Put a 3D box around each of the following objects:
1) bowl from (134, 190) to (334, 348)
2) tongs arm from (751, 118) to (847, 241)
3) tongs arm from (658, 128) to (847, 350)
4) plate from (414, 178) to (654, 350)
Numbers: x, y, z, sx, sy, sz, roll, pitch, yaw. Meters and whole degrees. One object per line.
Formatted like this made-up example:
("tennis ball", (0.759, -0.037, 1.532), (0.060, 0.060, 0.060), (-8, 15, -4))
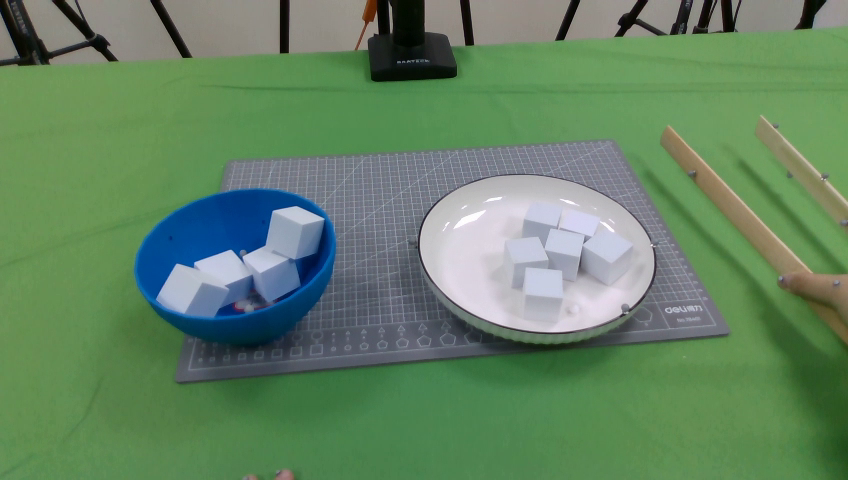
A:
("bowl", (-0.144, 0.035, 0.493), (0.151, 0.077, 0.150), (0, 42, 0))
("tongs arm", (0.378, 0.006, 0.541), (0.051, 0.027, 0.380), (-5, 44, -8))
("tongs arm", (0.316, 0.014, 0.532), (0.028, 0.028, 0.383), (-8, 44, -15))
("plate", (0.095, 0.019, 0.542), (0.208, 0.039, 0.205), (0, 42, 0))
